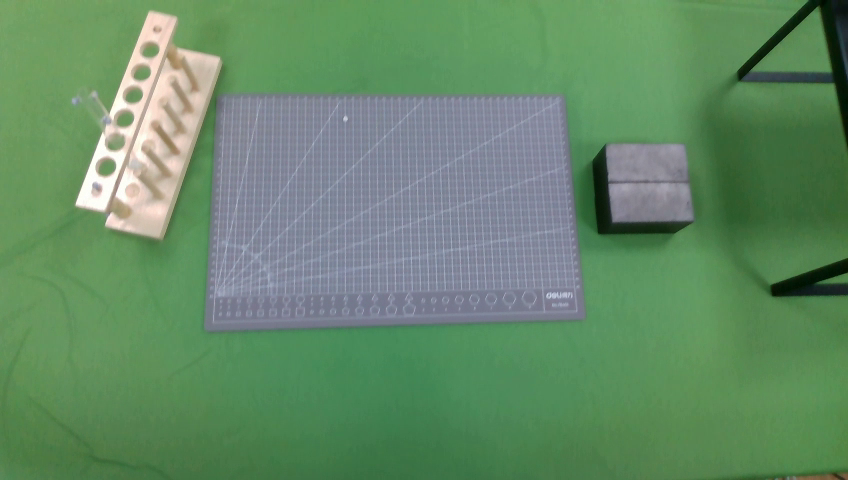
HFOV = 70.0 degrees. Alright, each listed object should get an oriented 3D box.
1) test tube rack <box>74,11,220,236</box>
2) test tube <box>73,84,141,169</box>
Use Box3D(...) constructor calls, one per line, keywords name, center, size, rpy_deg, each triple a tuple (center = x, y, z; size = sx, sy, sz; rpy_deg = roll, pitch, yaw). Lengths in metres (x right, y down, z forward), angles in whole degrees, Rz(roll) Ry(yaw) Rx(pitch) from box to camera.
Box3D(name="test tube rack", center=(-0.318, -0.136, 0.713), size=(0.067, 0.085, 0.241), rpy_deg=(13, 75, -1))
Box3D(name="test tube", center=(-0.338, -0.117, 0.656), size=(0.017, 0.151, 0.017), rpy_deg=(2, 67, -4))
